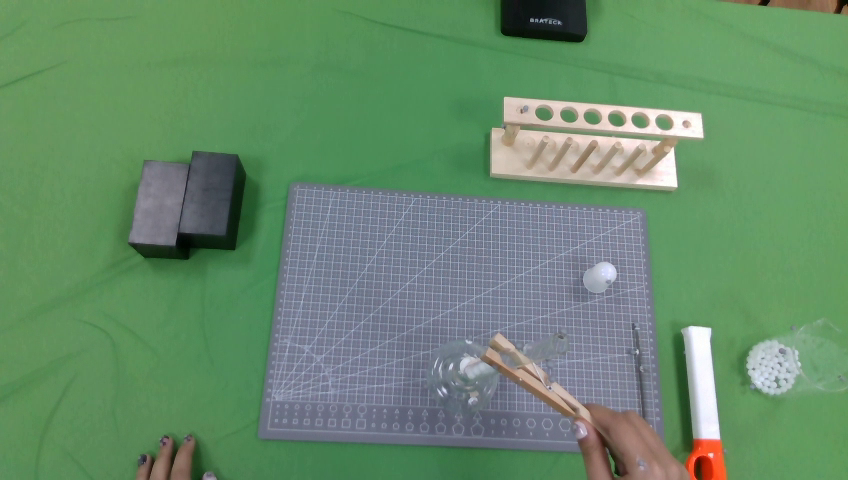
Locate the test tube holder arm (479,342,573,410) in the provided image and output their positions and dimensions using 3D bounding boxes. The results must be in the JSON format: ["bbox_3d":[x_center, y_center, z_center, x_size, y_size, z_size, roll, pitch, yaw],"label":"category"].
[{"bbox_3d":[0.084,0.111,0.493,0.088,0.015,0.010,33,63,-4],"label":"test tube holder arm"}]

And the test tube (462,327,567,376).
[{"bbox_3d":[0.068,0.094,0.494,0.017,0.150,0.017,8,67,-21],"label":"test tube"}]

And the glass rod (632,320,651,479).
[{"bbox_3d":[0.249,0.190,0.694,0.008,0.008,0.198,4,72,-5],"label":"glass rod"}]

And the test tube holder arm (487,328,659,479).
[{"bbox_3d":[0.122,0.135,0.497,0.178,0.015,0.013,40,63,-1],"label":"test tube holder arm"}]

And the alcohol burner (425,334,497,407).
[{"bbox_3d":[0.041,0.134,0.635,0.078,0.119,0.077,2,69,-4],"label":"alcohol burner"}]

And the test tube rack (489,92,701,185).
[{"bbox_3d":[0.208,-0.124,0.754,0.243,0.085,0.066,4,71,-5],"label":"test tube rack"}]

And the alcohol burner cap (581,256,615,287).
[{"bbox_3d":[0.211,0.035,0.722,0.034,0.048,0.033,2,72,-5],"label":"alcohol burner cap"}]

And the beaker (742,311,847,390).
[{"bbox_3d":[0.419,0.129,0.686,0.074,0.101,0.083,17,70,0],"label":"beaker"}]

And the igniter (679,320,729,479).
[{"bbox_3d":[0.315,0.227,0.682,0.057,0.025,0.275,8,71,-14],"label":"igniter"}]
